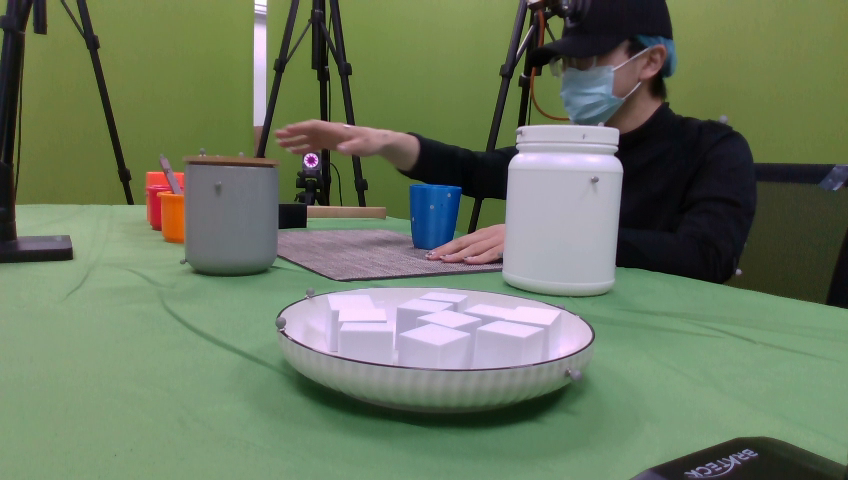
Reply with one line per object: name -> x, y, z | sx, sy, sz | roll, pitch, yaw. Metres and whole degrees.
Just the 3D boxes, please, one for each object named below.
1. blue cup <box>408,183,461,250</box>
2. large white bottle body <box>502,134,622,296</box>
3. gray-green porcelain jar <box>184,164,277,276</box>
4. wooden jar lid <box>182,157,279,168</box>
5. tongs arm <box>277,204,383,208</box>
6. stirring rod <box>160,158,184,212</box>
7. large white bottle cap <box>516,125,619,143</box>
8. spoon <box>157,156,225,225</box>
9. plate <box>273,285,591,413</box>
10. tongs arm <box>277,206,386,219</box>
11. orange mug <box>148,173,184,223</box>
blue cup -> 0.015, -0.038, 0.970 | 0.093, 0.100, 0.092 | 3, 9, 0
large white bottle body -> 0.161, -0.037, 0.706 | 0.131, 0.184, 0.130 | 2, 7, 0
gray-green porcelain jar -> -0.230, -0.025, 0.722 | 0.106, 0.126, 0.106 | 3, 7, 0
wooden jar lid -> -0.227, -0.086, 0.714 | 0.108, 0.020, 0.108 | 1, 6, 0
tongs arm -> -0.288, -0.071, 1.435 | 0.389, 0.027, 0.028 | 1, 0, -17
stirring rod -> -0.390, -0.070, 0.972 | 0.014, 0.006, 0.175 | -2, 50, -48
large white bottle cap -> 0.164, -0.120, 0.695 | 0.115, 0.018, 0.115 | 2, 7, 0
spoon -> -0.425, -0.094, 1.117 | 0.041, 0.022, 0.194 | 5, 51, 29
plate -> 0.005, 0.069, 0.408 | 0.208, 0.039, 0.207 | 2, 7, 0
tongs arm -> -0.251, -0.062, 1.360 | 0.387, 0.026, 0.050 | -1, 4, -31
orange mug -> -0.490, -0.087, 1.222 | 0.127, 0.101, 0.083 | -9, 13, -38
